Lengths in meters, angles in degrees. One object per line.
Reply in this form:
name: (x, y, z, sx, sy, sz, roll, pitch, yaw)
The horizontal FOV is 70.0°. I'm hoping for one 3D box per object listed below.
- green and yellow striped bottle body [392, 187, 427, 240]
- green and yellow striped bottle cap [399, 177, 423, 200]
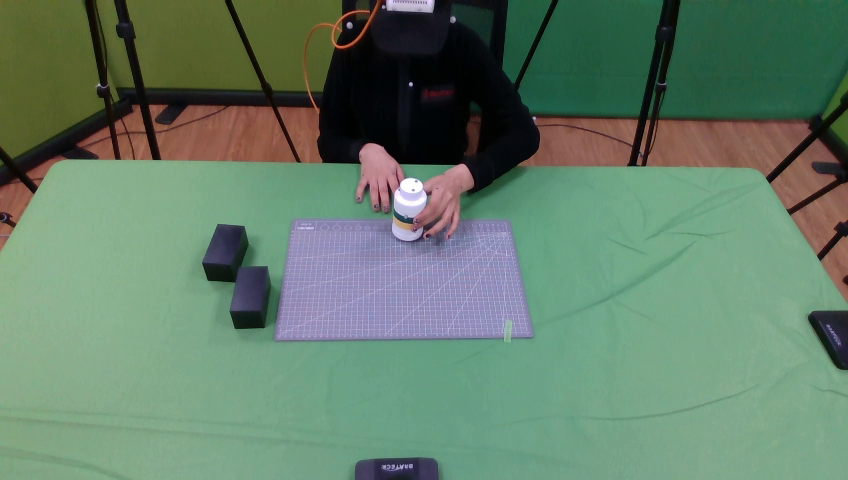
green and yellow striped bottle body: (-0.028, -0.061, 1.174, 0.063, 0.120, 0.063, 4, 46, -3)
green and yellow striped bottle cap: (-0.025, -0.097, 1.138, 0.045, 0.020, 0.045, 5, 46, -4)
